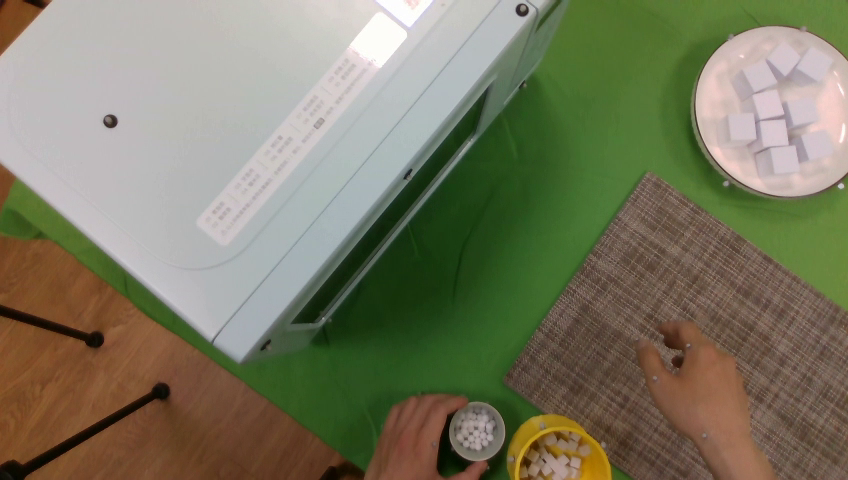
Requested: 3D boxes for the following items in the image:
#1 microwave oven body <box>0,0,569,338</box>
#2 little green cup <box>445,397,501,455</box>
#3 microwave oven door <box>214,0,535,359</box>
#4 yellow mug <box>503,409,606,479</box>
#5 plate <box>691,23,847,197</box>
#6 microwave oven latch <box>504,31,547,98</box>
[{"bbox_3d":[-0.121,-0.166,0.590,0.325,0.260,0.441,39,85,3],"label":"microwave oven body"},{"bbox_3d":[0.054,0.203,0.671,0.061,0.039,0.061,0,86,2],"label":"little green cup"},{"bbox_3d":[-0.036,-0.042,0.573,0.039,0.244,0.355,39,84,4],"label":"microwave oven door"},{"bbox_3d":[0.126,0.249,0.652,0.131,0.064,0.100,-42,87,-2],"label":"yellow mug"},{"bbox_3d":[0.415,-0.150,0.715,0.208,0.039,0.207,0,84,-1],"label":"plate"},{"bbox_3d":[0.105,-0.197,0.694,0.030,0.029,0.079,42,85,3],"label":"microwave oven latch"}]
